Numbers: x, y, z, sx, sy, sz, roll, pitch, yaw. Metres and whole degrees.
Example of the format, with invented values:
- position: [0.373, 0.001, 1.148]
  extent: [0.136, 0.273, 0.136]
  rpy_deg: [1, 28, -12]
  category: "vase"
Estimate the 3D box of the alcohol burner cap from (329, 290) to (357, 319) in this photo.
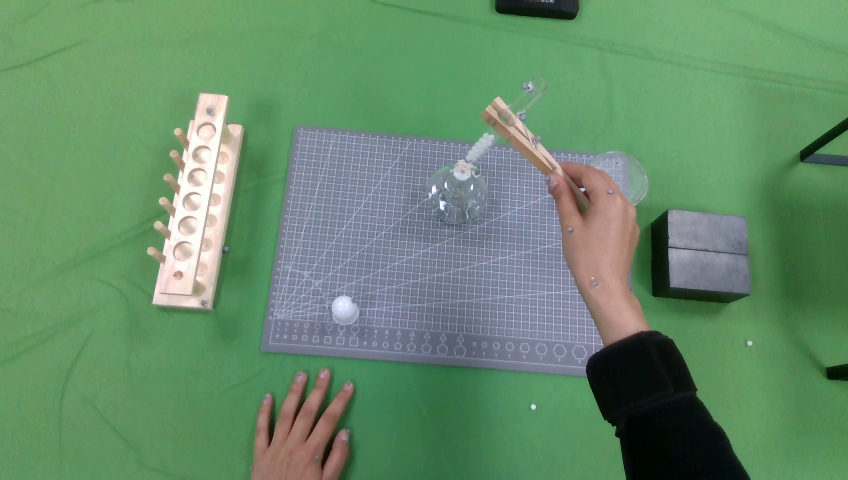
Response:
- position: [-0.097, 0.074, 0.715]
  extent: [0.034, 0.048, 0.033]
  rpy_deg: [2, 74, -5]
  category: "alcohol burner cap"

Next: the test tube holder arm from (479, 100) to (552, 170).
- position: [0.090, -0.100, 0.582]
  extent: [0.088, 0.015, 0.010]
  rpy_deg: [40, 65, -5]
  category: "test tube holder arm"

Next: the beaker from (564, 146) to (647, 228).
- position: [0.217, -0.061, 0.749]
  extent: [0.084, 0.101, 0.073]
  rpy_deg: [3, 72, -2]
  category: "beaker"

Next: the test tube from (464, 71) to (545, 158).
- position: [0.074, -0.116, 0.589]
  extent: [0.017, 0.150, 0.017]
  rpy_deg: [7, 69, -19]
  category: "test tube"

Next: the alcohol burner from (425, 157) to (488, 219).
- position: [0.040, -0.070, 0.731]
  extent: [0.078, 0.119, 0.077]
  rpy_deg: [1, 74, -2]
  category: "alcohol burner"

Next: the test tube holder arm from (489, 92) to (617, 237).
- position: [0.125, -0.072, 0.587]
  extent: [0.178, 0.015, 0.013]
  rpy_deg: [47, 65, -3]
  category: "test tube holder arm"

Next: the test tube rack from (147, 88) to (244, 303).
- position: [-0.276, -0.054, 0.720]
  extent: [0.067, 0.085, 0.241]
  rpy_deg: [5, 73, -2]
  category: "test tube rack"
